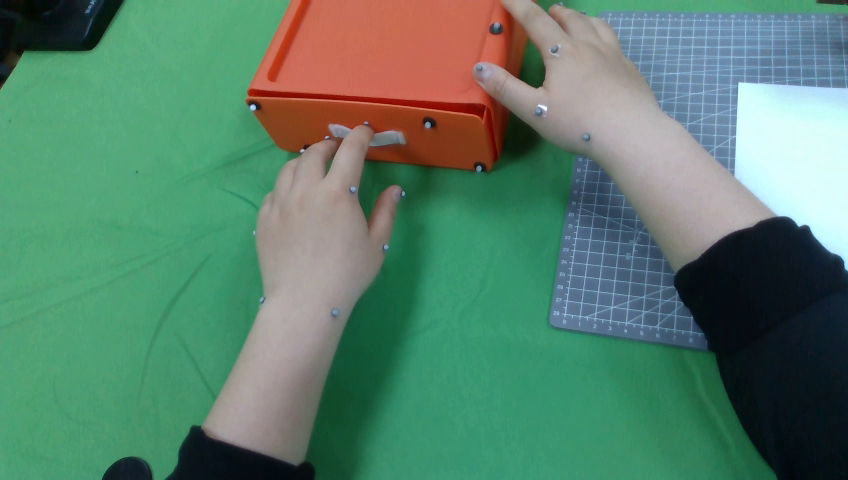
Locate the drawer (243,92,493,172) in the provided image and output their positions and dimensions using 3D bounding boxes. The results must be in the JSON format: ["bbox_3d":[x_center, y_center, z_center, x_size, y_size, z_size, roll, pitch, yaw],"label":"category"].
[{"bbox_3d":[-0.022,-0.168,0.520,0.194,0.074,0.210,7,64,17],"label":"drawer"}]

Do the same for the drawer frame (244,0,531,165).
[{"bbox_3d":[-0.020,-0.177,0.523,0.201,0.083,0.212,6,63,17],"label":"drawer frame"}]

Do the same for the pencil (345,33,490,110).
[{"bbox_3d":[-0.013,-0.158,0.549,0.012,0.012,0.192,-46,56,-12],"label":"pencil"}]
